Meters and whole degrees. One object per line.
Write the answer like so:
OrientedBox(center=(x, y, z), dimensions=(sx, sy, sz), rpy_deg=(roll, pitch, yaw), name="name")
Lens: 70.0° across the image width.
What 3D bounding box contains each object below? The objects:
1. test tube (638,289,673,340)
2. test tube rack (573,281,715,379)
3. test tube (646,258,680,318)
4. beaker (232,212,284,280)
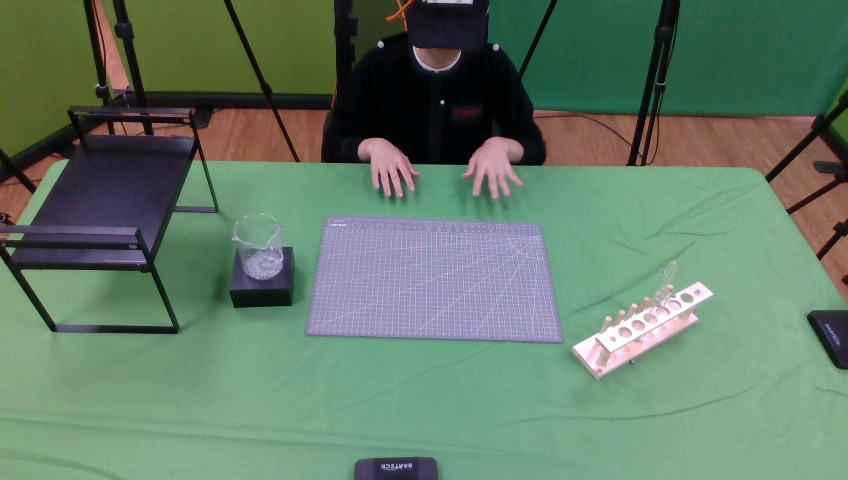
OrientedBox(center=(0.373, 0.124, 0.983), dimensions=(0.017, 0.151, 0.017), rpy_deg=(0, 54, 0), name="test tube")
OrientedBox(center=(0.378, 0.140, 1.038), dimensions=(0.242, 0.085, 0.066), rpy_deg=(-22, 51, -23), name="test tube rack")
OrientedBox(center=(0.406, 0.084, 1.033), dimensions=(0.017, 0.151, 0.017), rpy_deg=(1, 46, -1), name="test tube")
OrientedBox(center=(-0.280, 0.016, 1.037), dimensions=(0.074, 0.101, 0.083), rpy_deg=(-18, 50, -20), name="beaker")
